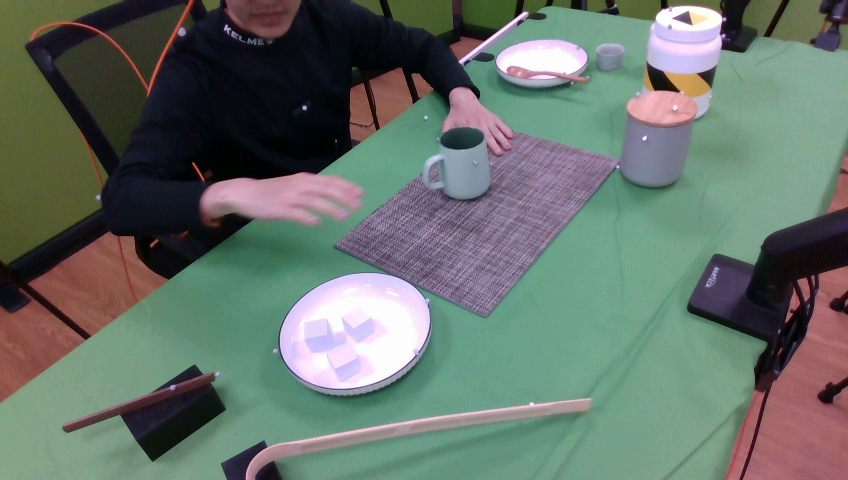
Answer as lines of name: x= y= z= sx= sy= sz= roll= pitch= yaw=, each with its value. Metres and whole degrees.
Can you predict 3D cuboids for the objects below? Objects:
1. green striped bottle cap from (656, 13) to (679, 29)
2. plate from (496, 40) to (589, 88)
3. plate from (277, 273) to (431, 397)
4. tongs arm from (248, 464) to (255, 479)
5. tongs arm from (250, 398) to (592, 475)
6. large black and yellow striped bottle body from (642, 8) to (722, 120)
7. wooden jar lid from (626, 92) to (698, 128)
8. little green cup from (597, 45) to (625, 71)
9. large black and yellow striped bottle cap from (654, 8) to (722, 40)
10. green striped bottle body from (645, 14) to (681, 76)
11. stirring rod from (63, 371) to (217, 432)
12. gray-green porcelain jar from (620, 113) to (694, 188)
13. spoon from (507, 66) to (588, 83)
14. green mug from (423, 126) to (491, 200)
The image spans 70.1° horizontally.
green striped bottle cap: x=0.515 y=-0.463 z=1.278 sx=0.044 sy=0.020 sz=0.044 roll=-6 pitch=42 yaw=6
plate: x=0.269 y=-0.397 z=1.381 sx=0.209 sy=0.038 sz=0.208 roll=-4 pitch=41 yaw=4
plate: x=-0.091 y=0.129 z=0.821 sx=0.207 sy=0.039 sz=0.206 roll=-4 pitch=40 yaw=4
tongs arm: x=0.012 y=0.262 z=0.615 sx=0.385 sy=0.026 sz=0.050 roll=3 pitch=42 yaw=-2
tongs arm: x=0.008 y=0.212 z=0.675 sx=0.389 sy=0.028 sz=0.028 roll=-5 pitch=46 yaw=-11
large black and yellow striped bottle body: x=0.493 y=-0.334 z=1.161 sx=0.131 sy=0.185 sz=0.130 roll=-4 pitch=41 yaw=4
wooden jar lid: x=0.384 y=-0.207 z=0.980 sx=0.108 sy=0.021 sz=0.108 roll=-6 pitch=39 yaw=5
little green cup: x=0.422 y=-0.413 z=1.375 sx=0.061 sy=0.039 sz=0.061 roll=-3 pitch=41 yaw=3
large black and yellow striped bottle cap: x=0.483 y=-0.397 z=1.108 sx=0.115 sy=0.019 sz=0.114 roll=-3 pitch=41 yaw=3
green striped bottle body: x=0.520 y=-0.424 z=1.312 sx=0.063 sy=0.120 sz=0.063 roll=-4 pitch=41 yaw=4
stirring rod: x=-0.337 y=0.192 z=0.723 sx=0.177 sy=0.014 sz=0.005 roll=-18 pitch=42 yaw=-12
gray-green porcelain jar: x=0.390 y=-0.160 z=1.020 sx=0.106 sy=0.127 sz=0.105 roll=-4 pitch=41 yaw=4
spoon: x=0.265 y=-0.357 z=1.311 sx=0.192 sy=0.022 sz=0.042 roll=18 pitch=47 yaw=38
green mug: x=0.055 y=-0.125 z=1.039 sx=0.126 sy=0.105 sz=0.091 roll=-25 pitch=44 yaw=-19
